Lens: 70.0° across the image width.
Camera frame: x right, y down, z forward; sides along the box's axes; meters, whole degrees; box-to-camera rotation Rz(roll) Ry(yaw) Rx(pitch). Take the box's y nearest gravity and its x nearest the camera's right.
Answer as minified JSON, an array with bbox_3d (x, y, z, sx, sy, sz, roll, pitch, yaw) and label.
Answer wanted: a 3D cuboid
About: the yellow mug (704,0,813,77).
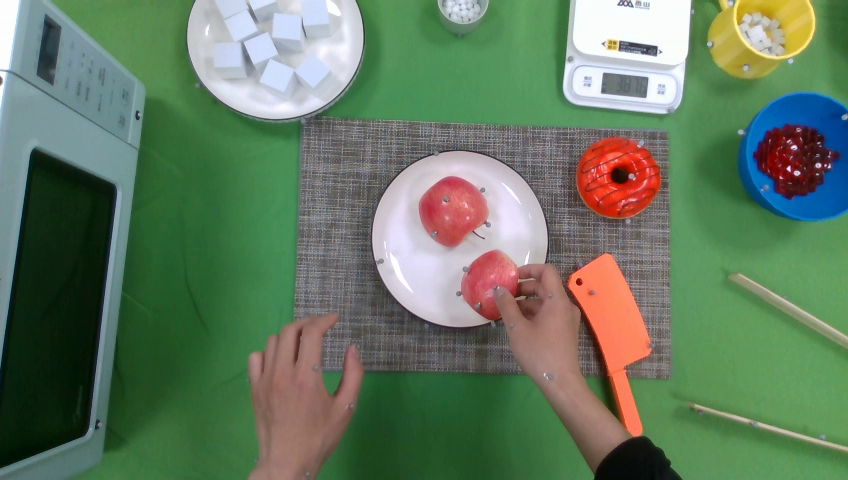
[{"bbox_3d":[0.399,-0.273,0.743,0.100,0.064,0.130,-31,86,-5],"label":"yellow mug"}]

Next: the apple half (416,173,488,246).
[{"bbox_3d":[0.032,-0.039,0.697,0.081,0.053,0.074,-35,84,-5],"label":"apple half"}]

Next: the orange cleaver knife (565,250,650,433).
[{"bbox_3d":[0.229,0.118,0.717,0.077,0.012,0.210,-16,84,-9],"label":"orange cleaver knife"}]

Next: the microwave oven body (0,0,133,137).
[{"bbox_3d":[-0.499,0.003,0.572,0.326,0.260,0.440,4,85,-3],"label":"microwave oven body"}]

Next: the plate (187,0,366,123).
[{"bbox_3d":[-0.173,-0.239,0.727,0.208,0.039,0.207,0,84,-3],"label":"plate"}]

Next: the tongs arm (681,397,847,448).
[{"bbox_3d":[0.495,0.222,0.715,0.385,0.026,0.050,17,79,-1],"label":"tongs arm"}]

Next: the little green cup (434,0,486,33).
[{"bbox_3d":[0.043,-0.286,0.741,0.061,0.038,0.061,0,84,-2],"label":"little green cup"}]

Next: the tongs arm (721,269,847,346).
[{"bbox_3d":[0.529,0.142,0.729,0.387,0.028,0.028,32,75,1],"label":"tongs arm"}]

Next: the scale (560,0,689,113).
[{"bbox_3d":[0.250,-0.264,0.752,0.149,0.031,0.200,6,85,-2],"label":"scale"}]

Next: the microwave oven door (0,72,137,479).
[{"bbox_3d":[-0.356,0.055,0.569,0.039,0.244,0.355,4,84,-2],"label":"microwave oven door"}]

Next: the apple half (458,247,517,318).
[{"bbox_3d":[0.064,0.043,0.672,0.033,0.081,0.081,11,82,-41],"label":"apple half"}]

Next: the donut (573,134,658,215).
[{"bbox_3d":[0.227,-0.078,0.723,0.099,0.048,0.099,0,85,0],"label":"donut"}]

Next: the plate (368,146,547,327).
[{"bbox_3d":[0.039,-0.003,0.710,0.209,0.038,0.208,0,84,-3],"label":"plate"}]

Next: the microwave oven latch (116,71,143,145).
[{"bbox_3d":[-0.342,-0.151,0.691,0.030,0.029,0.079,6,85,-2],"label":"microwave oven latch"}]

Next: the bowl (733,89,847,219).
[{"bbox_3d":[0.430,-0.094,0.721,0.151,0.077,0.151,0,85,-2],"label":"bowl"}]
